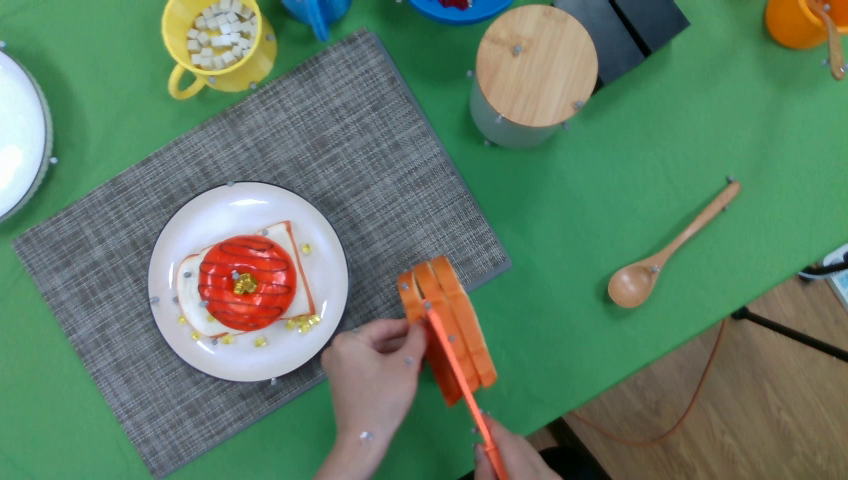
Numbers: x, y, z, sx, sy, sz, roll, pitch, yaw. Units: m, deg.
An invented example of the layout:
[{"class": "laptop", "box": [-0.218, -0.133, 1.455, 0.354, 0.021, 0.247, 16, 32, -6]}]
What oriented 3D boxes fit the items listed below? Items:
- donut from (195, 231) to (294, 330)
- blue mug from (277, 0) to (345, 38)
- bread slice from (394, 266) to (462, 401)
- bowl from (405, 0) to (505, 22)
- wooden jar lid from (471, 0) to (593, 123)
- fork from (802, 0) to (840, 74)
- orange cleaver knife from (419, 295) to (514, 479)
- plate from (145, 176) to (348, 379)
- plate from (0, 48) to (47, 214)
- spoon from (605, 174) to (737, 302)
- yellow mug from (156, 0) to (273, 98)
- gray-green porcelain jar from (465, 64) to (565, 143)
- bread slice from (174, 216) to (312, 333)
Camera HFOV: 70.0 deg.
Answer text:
[{"class": "donut", "box": [-0.180, 0.040, 0.610, 0.099, 0.048, 0.099, 0, 90, -4]}, {"class": "blue mug", "box": [-0.120, -0.264, 0.611, 0.082, 0.106, 0.116, -11, 90, 0]}, {"class": "bread slice", "box": [0.006, 0.090, 0.612, 0.018, 0.107, 0.134, -25, 84, 2]}, {"class": "bowl", "box": [0.031, -0.292, 0.626, 0.151, 0.077, 0.151, 0, 90, 0]}, {"class": "wooden jar lid", "box": [0.095, -0.158, 0.540, 0.108, 0.020, 0.108, 0, 91, -4]}, {"class": "fork", "box": [0.389, -0.218, 0.595, 0.028, 0.019, 0.206, 31, 45, -7]}, {"class": "orange cleaver knife", "box": [0.042, 0.146, 0.542, 0.012, 0.077, 0.211, -25, 88, -5]}, {"class": "plate", "box": [-0.182, 0.039, 0.638, 0.209, 0.038, 0.209, 0, 90, 0]}, {"class": "plate", "box": [-0.497, -0.114, 0.638, 0.208, 0.039, 0.207, 0, 90, -1]}, {"class": "spoon", "box": [0.271, -0.004, 0.655, 0.193, 0.022, 0.041, -43, 72, -1]}, {"class": "yellow mug", "box": [-0.224, -0.202, 0.628, 0.100, 0.064, 0.131, 37, 90, 1]}, {"class": "gray-green porcelain jar", "box": [0.095, -0.156, 0.603, 0.106, 0.126, 0.106, 0, 89, -1]}, {"class": "bread slice", "box": [-0.195, 0.044, 0.641, 0.131, 0.019, 0.105, -19, 89, -5]}]
